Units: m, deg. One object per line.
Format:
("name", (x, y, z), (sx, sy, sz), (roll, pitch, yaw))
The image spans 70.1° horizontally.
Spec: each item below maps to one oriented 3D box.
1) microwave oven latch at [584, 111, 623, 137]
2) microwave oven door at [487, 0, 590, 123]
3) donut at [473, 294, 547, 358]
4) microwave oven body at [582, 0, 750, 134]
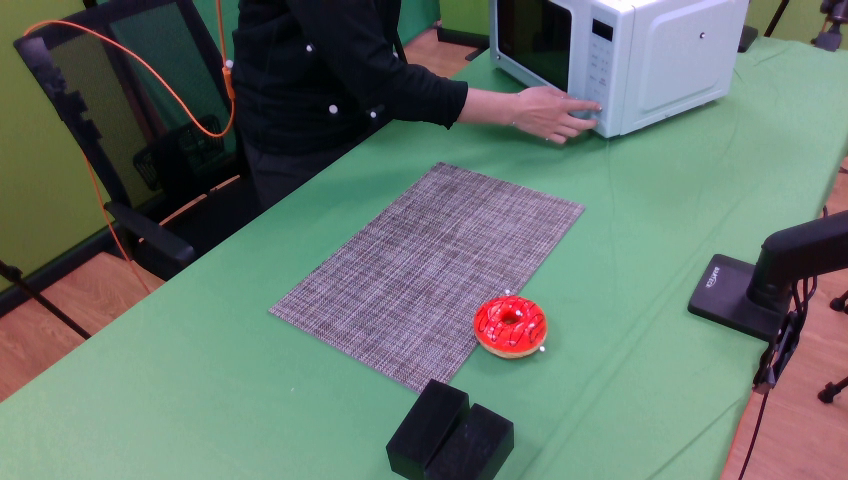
("microwave oven latch", (0.337, -0.222, 1.142), (0.030, 0.029, 0.078), (-21, 42, -14))
("microwave oven door", (0.232, -0.420, 1.231), (0.039, 0.245, 0.352), (-22, 43, -16))
("donut", (0.114, 0.114, 0.803), (0.099, 0.048, 0.098), (0, 39, 1))
("microwave oven body", (0.382, -0.445, 1.246), (0.327, 0.261, 0.437), (-22, 42, -16))
